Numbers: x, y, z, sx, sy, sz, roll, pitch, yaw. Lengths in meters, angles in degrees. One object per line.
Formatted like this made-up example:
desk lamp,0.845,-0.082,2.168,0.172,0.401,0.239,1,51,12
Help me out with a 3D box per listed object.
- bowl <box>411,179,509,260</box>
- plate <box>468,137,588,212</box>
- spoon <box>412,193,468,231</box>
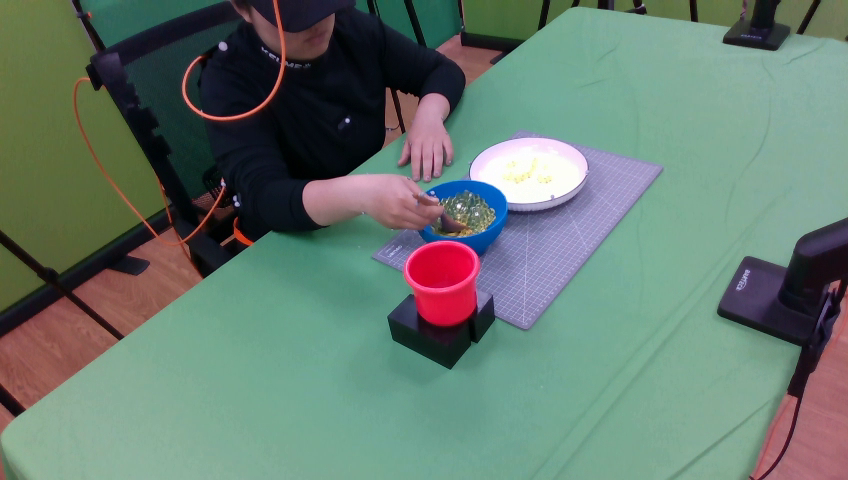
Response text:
bowl,0.060,-0.022,0.949,0.151,0.077,0.150,-5,40,5
plate,0.182,-0.112,1.064,0.207,0.039,0.206,-5,40,5
spoon,0.021,-0.042,0.890,0.041,0.195,0.021,7,78,23
